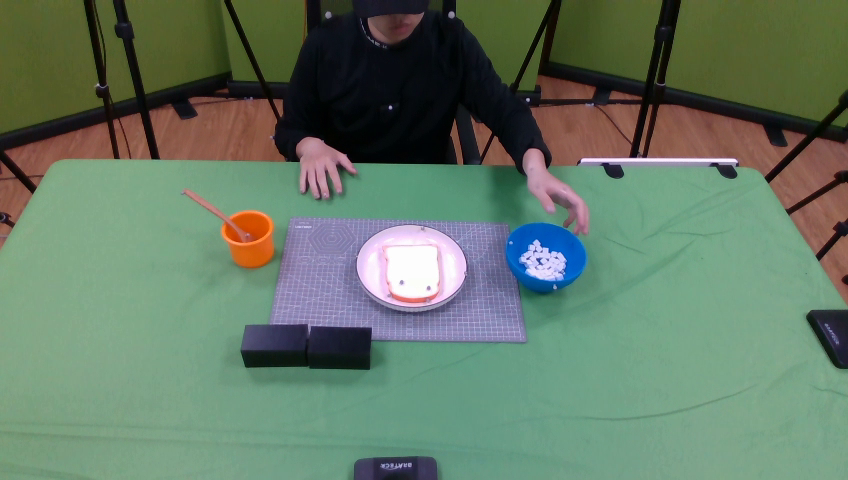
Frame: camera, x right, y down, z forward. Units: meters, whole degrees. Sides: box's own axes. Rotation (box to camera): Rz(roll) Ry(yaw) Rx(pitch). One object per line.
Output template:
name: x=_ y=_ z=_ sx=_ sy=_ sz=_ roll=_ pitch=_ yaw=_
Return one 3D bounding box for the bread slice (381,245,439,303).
bread slice: x=-0.022 y=0.061 z=1.126 sx=0.107 sy=0.018 sz=0.133 roll=-3 pitch=45 yaw=-8

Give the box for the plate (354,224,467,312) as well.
plate: x=-0.025 y=0.055 z=1.128 sx=0.209 sy=0.038 sz=0.208 roll=3 pitch=46 yaw=-2

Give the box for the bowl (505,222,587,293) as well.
bowl: x=0.221 y=0.045 z=1.132 sx=0.151 sy=0.077 sz=0.150 roll=2 pitch=46 yaw=-2

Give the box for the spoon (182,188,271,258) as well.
spoon: x=-0.361 y=-0.032 z=1.113 sx=0.021 sy=0.194 sz=0.041 roll=-26 pitch=30 yaw=35
